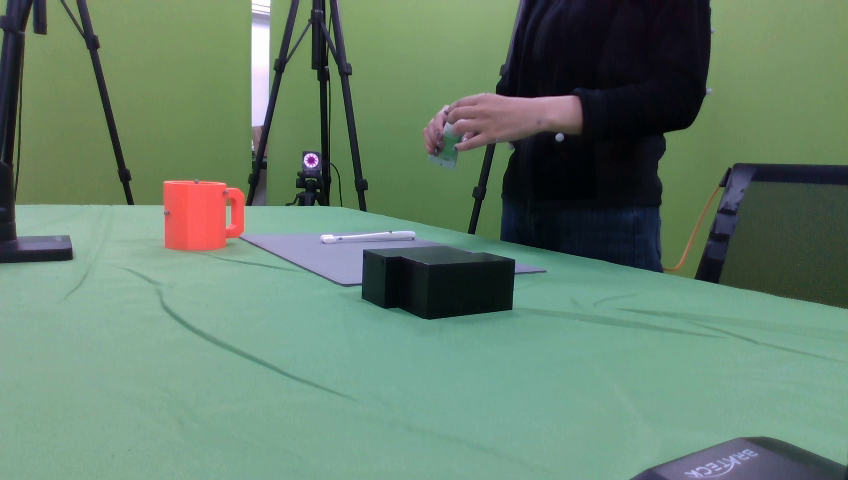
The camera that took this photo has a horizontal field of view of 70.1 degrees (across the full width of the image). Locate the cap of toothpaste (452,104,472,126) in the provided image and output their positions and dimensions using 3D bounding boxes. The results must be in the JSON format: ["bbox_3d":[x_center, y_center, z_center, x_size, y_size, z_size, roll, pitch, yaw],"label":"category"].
[{"bbox_3d":[0.061,-0.206,0.994,0.037,0.037,0.011,-1,-9,-20],"label":"cap of toothpaste"}]

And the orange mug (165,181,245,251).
[{"bbox_3d":[-0.326,-0.040,0.911,0.083,0.101,0.127,8,14,37],"label":"orange mug"}]

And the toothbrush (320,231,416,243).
[{"bbox_3d":[-0.089,-0.006,1.025,0.183,0.014,0.016,-3,13,-34],"label":"toothbrush"}]

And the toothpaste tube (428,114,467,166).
[{"bbox_3d":[0.048,-0.178,1.070,0.055,0.034,0.165,25,-22,-1],"label":"toothpaste tube"}]
